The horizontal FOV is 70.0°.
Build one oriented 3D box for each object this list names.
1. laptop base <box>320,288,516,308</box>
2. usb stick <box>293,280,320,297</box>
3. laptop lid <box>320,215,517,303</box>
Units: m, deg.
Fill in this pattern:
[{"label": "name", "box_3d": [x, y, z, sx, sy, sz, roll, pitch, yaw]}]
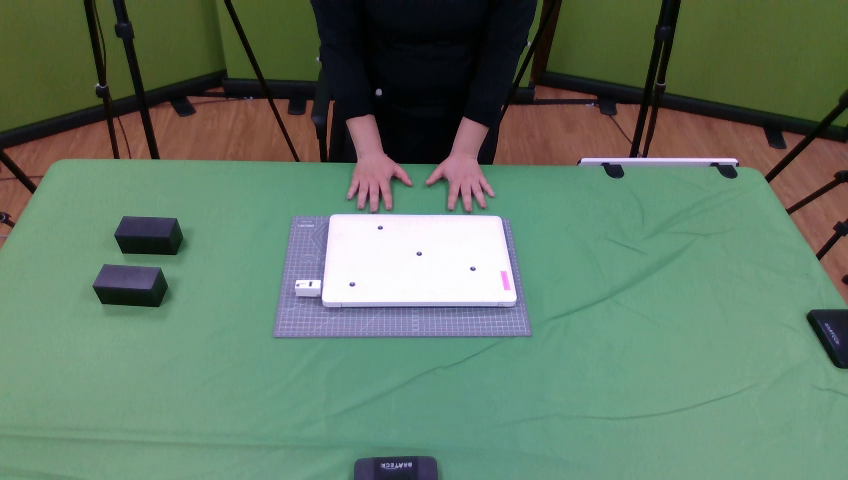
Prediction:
[{"label": "laptop base", "box_3d": [-0.013, 0.040, 1.160, 0.355, 0.023, 0.234, 0, 43, -4]}, {"label": "usb stick", "box_3d": [-0.202, 0.087, 1.082, 0.059, 0.027, 0.021, 4, 45, -4]}, {"label": "laptop lid", "box_3d": [-0.012, 0.030, 1.153, 0.357, 0.013, 0.240, 2, 43, -3]}]
